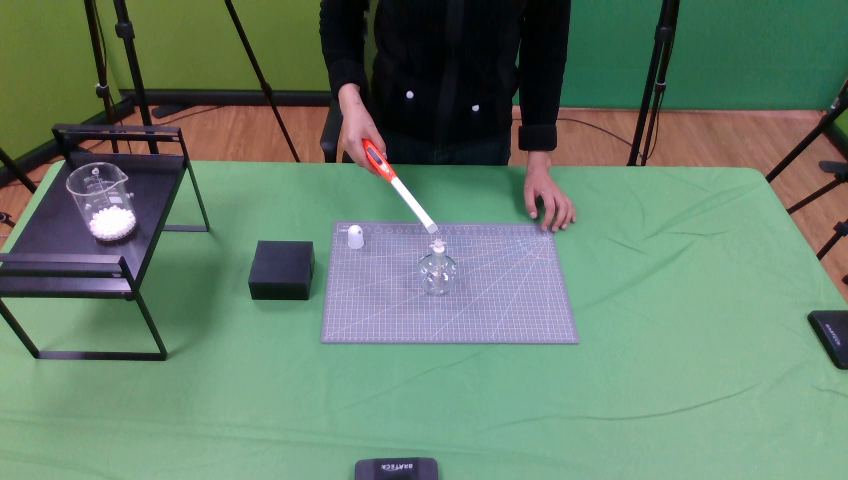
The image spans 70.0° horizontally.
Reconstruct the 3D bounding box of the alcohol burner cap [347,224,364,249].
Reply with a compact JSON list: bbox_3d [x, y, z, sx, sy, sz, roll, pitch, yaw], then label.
[{"bbox_3d":[-0.134,-0.010,1.177,0.034,0.048,0.033,2,47,-2],"label":"alcohol burner cap"}]

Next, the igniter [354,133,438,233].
[{"bbox_3d":[-0.058,-0.114,1.120,0.025,0.057,0.275,-37,59,-2],"label":"igniter"}]

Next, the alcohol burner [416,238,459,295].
[{"bbox_3d":[0.025,0.042,1.088,0.078,0.120,0.077,1,46,0],"label":"alcohol burner"}]

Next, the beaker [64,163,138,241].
[{"bbox_3d":[-0.477,-0.055,0.910,0.084,0.101,0.073,-9,48,-13],"label":"beaker"}]
